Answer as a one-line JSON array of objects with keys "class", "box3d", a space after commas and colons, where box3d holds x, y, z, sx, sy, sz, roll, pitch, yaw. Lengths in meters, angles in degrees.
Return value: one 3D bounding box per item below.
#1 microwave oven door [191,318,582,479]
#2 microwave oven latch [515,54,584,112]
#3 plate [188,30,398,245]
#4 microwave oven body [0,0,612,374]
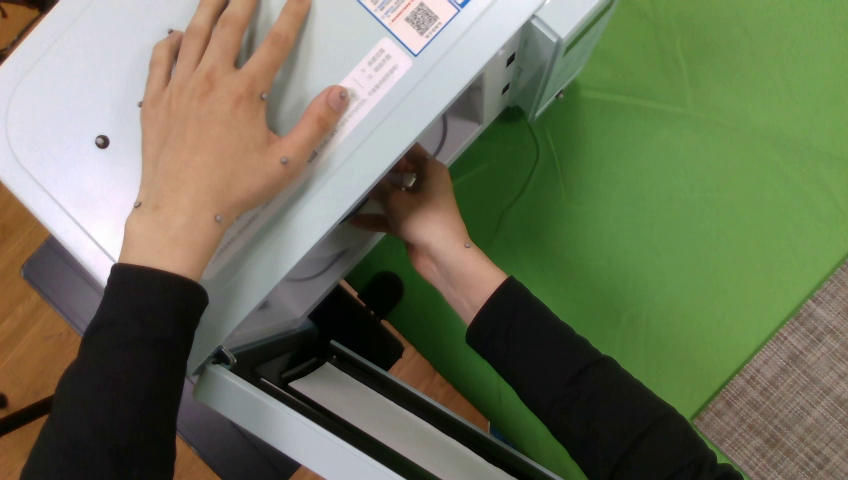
[{"class": "microwave oven door", "box3d": [0.000, 0.185, 0.538, 0.355, 0.244, 0.039, 29, 91, 5]}, {"class": "microwave oven latch", "box3d": [0.132, -0.173, 0.637, 0.079, 0.029, 0.030, -44, 86, 3]}, {"class": "plate", "box3d": [-0.126, -0.098, 0.597, 0.209, 0.038, 0.209, 0, 89, 6]}, {"class": "microwave oven body", "box3d": [-0.106, -0.150, 0.559, 0.325, 0.260, 0.441, 44, 93, 4]}]
